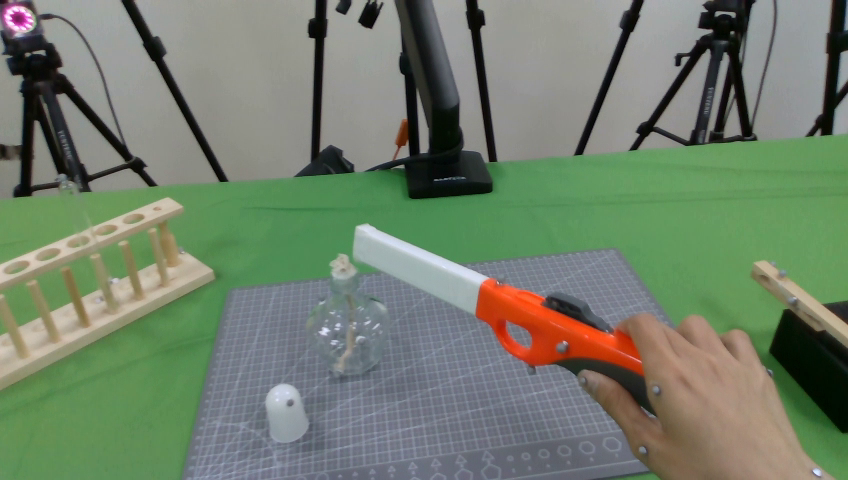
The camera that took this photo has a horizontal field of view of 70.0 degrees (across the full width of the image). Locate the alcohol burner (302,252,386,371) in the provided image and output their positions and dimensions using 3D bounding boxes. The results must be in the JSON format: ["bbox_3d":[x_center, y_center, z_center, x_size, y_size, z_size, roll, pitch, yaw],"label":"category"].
[{"bbox_3d":[-0.073,0.059,0.544,0.078,0.120,0.077,0,35,0],"label":"alcohol burner"}]

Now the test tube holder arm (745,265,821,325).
[{"bbox_3d":[0.327,0.046,0.550,0.015,0.010,0.087,-15,32,-8],"label":"test tube holder arm"}]

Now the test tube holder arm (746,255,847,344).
[{"bbox_3d":[0.337,0.064,0.510,0.015,0.013,0.176,-15,33,-8],"label":"test tube holder arm"}]

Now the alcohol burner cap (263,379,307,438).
[{"bbox_3d":[-0.115,0.135,0.496,0.034,0.048,0.033,0,33,1],"label":"alcohol burner cap"}]

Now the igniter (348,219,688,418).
[{"bbox_3d":[0.048,0.042,0.420,0.274,0.057,0.025,24,28,34],"label":"igniter"}]

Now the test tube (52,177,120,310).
[{"bbox_3d":[-0.325,0.007,0.586,0.017,0.151,0.017,-1,34,1],"label":"test tube"}]

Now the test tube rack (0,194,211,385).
[{"bbox_3d":[-0.348,0.045,0.612,0.066,0.086,0.242,25,42,35],"label":"test tube rack"}]
